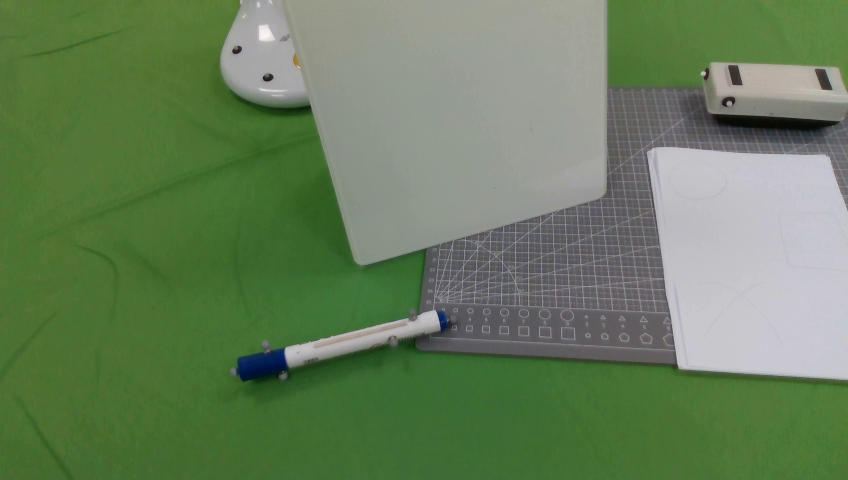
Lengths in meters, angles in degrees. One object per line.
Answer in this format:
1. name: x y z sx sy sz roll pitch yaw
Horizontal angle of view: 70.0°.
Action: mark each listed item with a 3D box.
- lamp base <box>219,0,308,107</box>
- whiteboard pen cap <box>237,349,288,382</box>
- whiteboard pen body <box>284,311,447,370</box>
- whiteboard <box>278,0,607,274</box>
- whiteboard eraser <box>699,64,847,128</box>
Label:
1. lamp base: -0.149 -0.249 0.587 0.160 0.182 0.177 -38 56 -23
2. whiteboard pen cap: -0.110 0.086 0.416 0.033 0.018 0.018 -13 51 -10
3. whiteboard pen body: -0.052 0.073 0.425 0.141 0.017 0.017 -13 52 -8
4. whiteboard: 0.009 -0.162 0.464 0.217 0.308 0.142 -15 33 -7
5. whiteboard eraser: 0.309 -0.128 0.542 0.112 0.042 0.055 5 53 9
